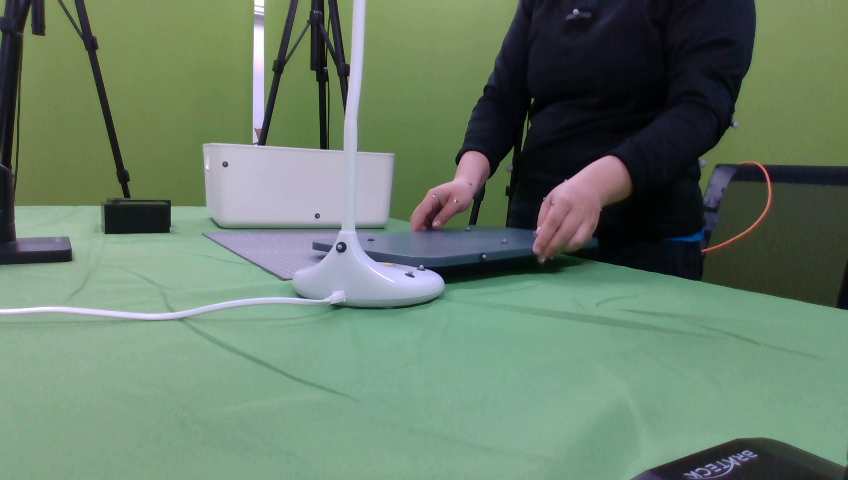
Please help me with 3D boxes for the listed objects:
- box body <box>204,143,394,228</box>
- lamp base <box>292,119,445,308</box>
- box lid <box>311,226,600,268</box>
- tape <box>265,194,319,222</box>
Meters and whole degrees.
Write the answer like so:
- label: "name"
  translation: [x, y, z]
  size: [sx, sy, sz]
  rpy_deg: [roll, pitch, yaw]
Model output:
- label: "box body"
  translation: [-0.271, -0.117, 1.291]
  size: [0.366, 0.160, 0.253]
  rpy_deg: [-1, 8, -25]
- label: "lamp base"
  translation: [-0.056, -0.030, 0.616]
  size: [0.160, 0.180, 0.179]
  rpy_deg: [4, 10, 8]
- label: "box lid"
  translation: [0.051, 0.004, 0.876]
  size: [0.373, 0.015, 0.262]
  rpy_deg: [-6, 9, -42]
- label: "tape"
  translation: [-0.284, -0.069, 1.298]
  size: [0.117, 0.052, 0.117]
  rpy_deg: [3, 7, 0]
